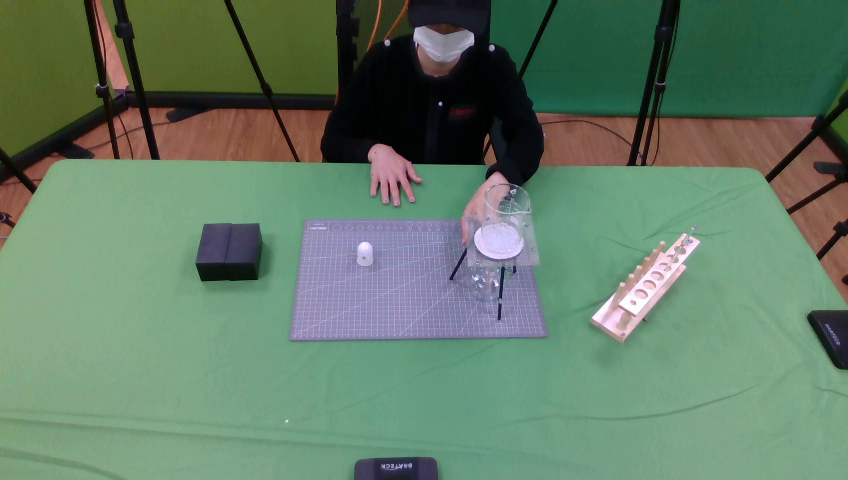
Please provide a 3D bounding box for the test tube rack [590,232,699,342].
[{"bbox_3d":[0.407,0.074,1.112,0.066,0.085,0.242,35,53,26],"label":"test tube rack"}]

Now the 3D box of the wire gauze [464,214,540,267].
[{"bbox_3d":[0.131,-0.001,1.035,0.121,0.011,0.124,1,44,-2],"label":"wire gauze"}]

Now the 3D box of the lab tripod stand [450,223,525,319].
[{"bbox_3d":[0.120,0.046,1.080,0.148,0.132,0.147,1,47,-1],"label":"lab tripod stand"}]

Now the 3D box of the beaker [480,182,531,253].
[{"bbox_3d":[0.133,-0.033,0.998,0.083,0.101,0.074,26,51,22],"label":"beaker"}]

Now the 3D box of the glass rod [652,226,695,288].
[{"bbox_3d":[0.432,0.037,1.057,0.008,0.200,0.008,1,54,-1],"label":"glass rod"}]

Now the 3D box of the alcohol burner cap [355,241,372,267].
[{"bbox_3d":[-0.114,0.024,1.147,0.034,0.048,0.033,2,45,-2],"label":"alcohol burner cap"}]

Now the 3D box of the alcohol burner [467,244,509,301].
[{"bbox_3d":[0.116,0.053,1.087,0.078,0.120,0.077,1,44,-1],"label":"alcohol burner"}]
